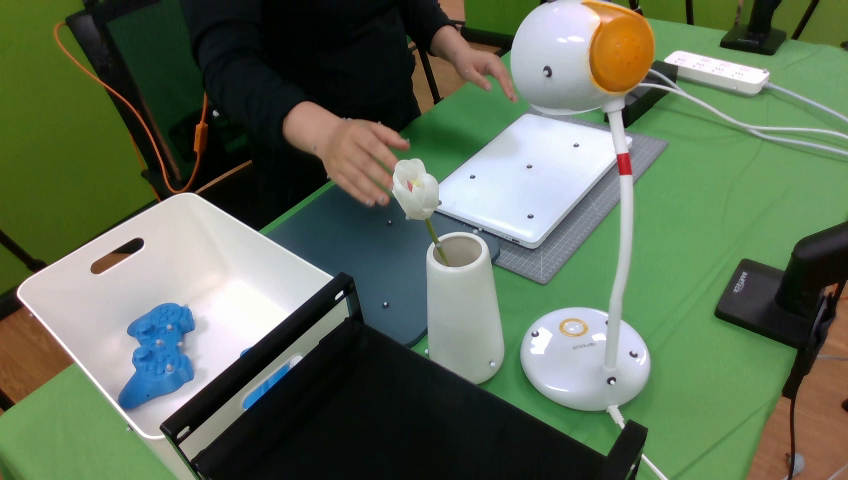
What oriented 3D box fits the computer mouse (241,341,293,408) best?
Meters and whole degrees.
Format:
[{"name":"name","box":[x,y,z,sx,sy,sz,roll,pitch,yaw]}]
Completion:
[{"name":"computer mouse","box":[-0.200,0.177,0.776,0.063,0.041,0.116,-11,44,-8]}]

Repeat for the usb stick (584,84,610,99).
[{"name":"usb stick","box":[0.354,-0.306,1.252,0.027,0.021,0.058,-3,2,-39]}]

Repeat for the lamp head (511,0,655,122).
[{"name":"lamp head","box":[0.155,-0.168,0.563,0.113,0.113,0.122,-18,23,-12]}]

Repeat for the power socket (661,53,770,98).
[{"name":"power socket","box":[0.617,-0.355,1.292,0.225,0.033,0.072,29,53,35]}]

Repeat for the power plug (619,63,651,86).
[{"name":"power plug","box":[0.435,-0.341,1.265,0.035,0.053,0.072,6,31,-15]}]

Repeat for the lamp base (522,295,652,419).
[{"name":"lamp base","box":[0.201,0.095,0.710,0.161,0.181,0.178,-16,43,-10]}]

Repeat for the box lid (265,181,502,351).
[{"name":"box lid","box":[-0.087,0.022,0.971,0.368,0.015,0.264,23,49,31]}]

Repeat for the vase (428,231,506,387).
[{"name":"vase","box":[0.050,0.087,0.728,0.098,0.201,0.097,-3,40,3]}]

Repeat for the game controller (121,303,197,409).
[{"name":"game controller","box":[-0.364,0.149,0.828,0.097,0.052,0.154,-13,41,-10]}]

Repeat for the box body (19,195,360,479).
[{"name":"box body","box":[-0.288,0.118,0.772,0.361,0.161,0.255,26,50,33]}]

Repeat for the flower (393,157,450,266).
[{"name":"flower","box":[0.028,0.036,0.664,0.043,0.364,0.038,35,72,30]}]

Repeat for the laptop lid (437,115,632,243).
[{"name":"laptop lid","box":[0.189,-0.126,1.082,0.239,0.013,0.358,23,48,35]}]

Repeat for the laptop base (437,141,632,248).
[{"name":"laptop base","box":[0.192,-0.117,1.087,0.233,0.023,0.355,21,47,34]}]
